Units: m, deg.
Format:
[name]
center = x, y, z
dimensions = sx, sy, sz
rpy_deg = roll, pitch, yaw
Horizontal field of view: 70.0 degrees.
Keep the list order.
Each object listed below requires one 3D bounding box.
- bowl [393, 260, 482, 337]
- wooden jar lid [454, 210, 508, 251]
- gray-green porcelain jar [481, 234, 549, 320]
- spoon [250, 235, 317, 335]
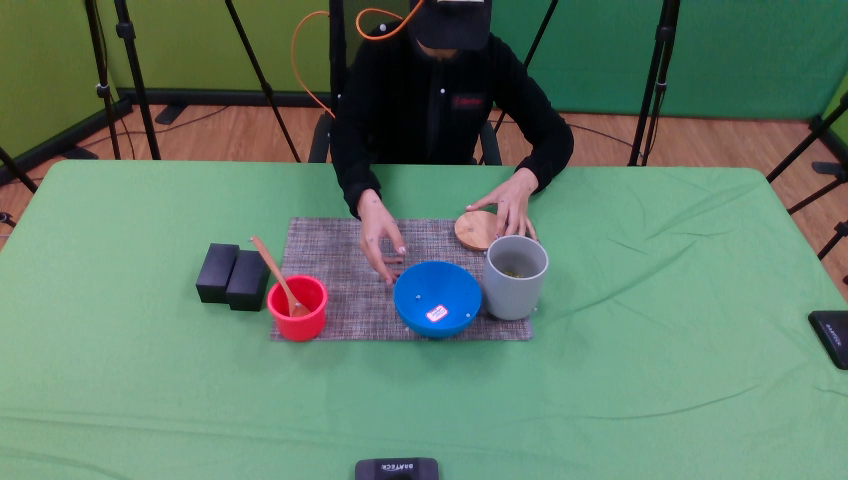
[bowl]
center = 0.021, 0.115, 1.045
dimensions = 0.151, 0.077, 0.150
rpy_deg = 2, 46, -2
[wooden jar lid]
center = 0.114, -0.018, 1.220
dimensions = 0.108, 0.021, 0.107
rpy_deg = 3, 46, -3
[gray-green porcelain jar]
center = 0.156, 0.070, 1.064
dimensions = 0.106, 0.127, 0.105
rpy_deg = 2, 46, -2
[spoon]
center = -0.237, 0.075, 1.019
dimensions = 0.041, 0.021, 0.194
rpy_deg = -32, 100, -32
